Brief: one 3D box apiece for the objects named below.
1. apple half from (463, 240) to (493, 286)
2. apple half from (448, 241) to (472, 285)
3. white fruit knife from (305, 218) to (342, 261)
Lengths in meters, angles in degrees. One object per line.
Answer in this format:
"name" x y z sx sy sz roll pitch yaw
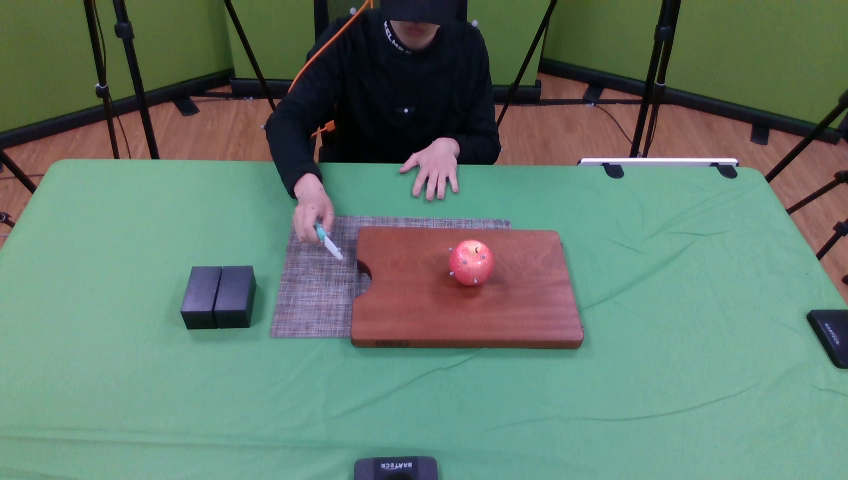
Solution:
"apple half" 0.097 0.042 1.093 0.053 0.075 0.080 -3 42 -13
"apple half" 0.059 0.046 1.085 0.033 0.081 0.080 -4 46 -13
"white fruit knife" -0.178 -0.003 1.078 0.016 0.027 0.206 -12 24 -24
